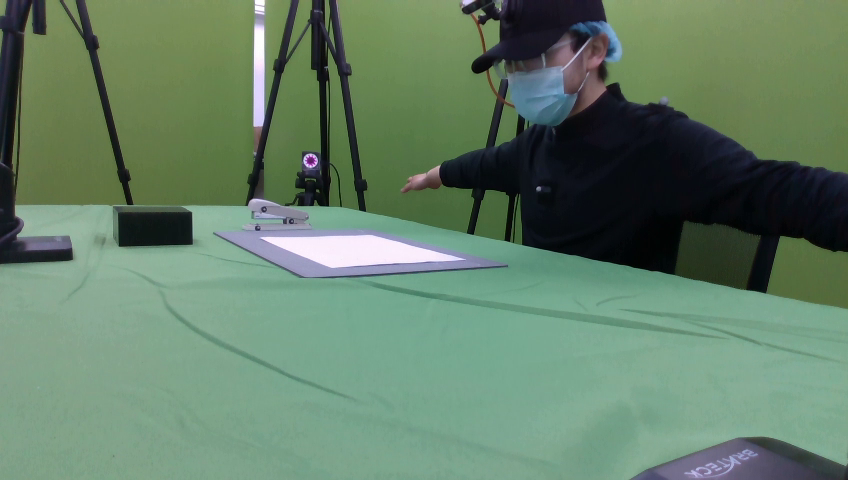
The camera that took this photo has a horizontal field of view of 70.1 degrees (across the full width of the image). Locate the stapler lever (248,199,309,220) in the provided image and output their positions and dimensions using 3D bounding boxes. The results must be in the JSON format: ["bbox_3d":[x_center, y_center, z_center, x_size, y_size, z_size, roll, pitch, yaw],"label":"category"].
[{"bbox_3d":[-0.281,-0.058,1.169,0.119,0.040,0.026,-1,10,-37],"label":"stapler lever"}]

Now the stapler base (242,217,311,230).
[{"bbox_3d":[-0.284,-0.033,1.170,0.131,0.024,0.041,-1,11,-37],"label":"stapler base"}]
